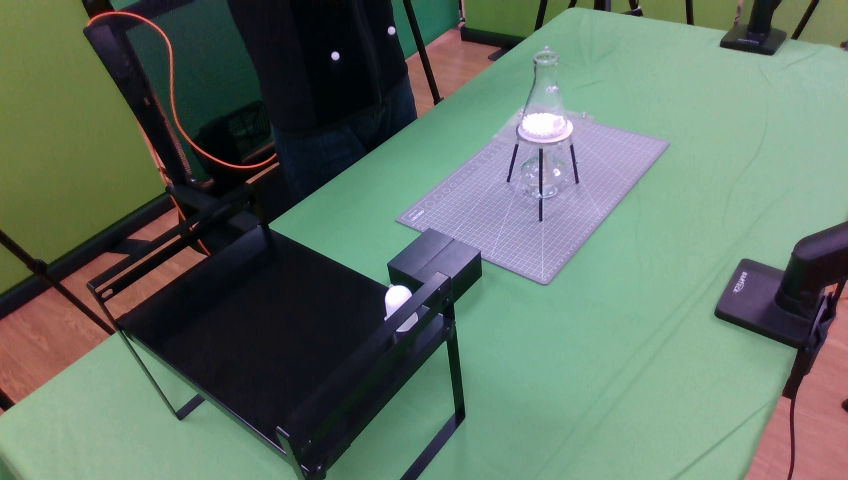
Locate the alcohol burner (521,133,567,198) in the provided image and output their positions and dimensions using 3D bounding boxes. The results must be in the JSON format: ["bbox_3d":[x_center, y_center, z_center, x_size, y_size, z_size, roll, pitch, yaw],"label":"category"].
[{"bbox_3d":[0.204,-0.131,1.023,0.078,0.119,0.077,-5,42,5],"label":"alcohol burner"}]

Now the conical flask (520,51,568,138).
[{"bbox_3d":[0.185,-0.223,0.926,0.075,0.122,0.075,-4,41,4],"label":"conical flask"}]

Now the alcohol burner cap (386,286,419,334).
[{"bbox_3d":[-0.024,0.067,0.604,0.034,0.048,0.033,-4,40,4],"label":"alcohol burner cap"}]

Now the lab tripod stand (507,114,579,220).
[{"bbox_3d":[0.199,-0.128,1.005,0.148,0.132,0.147,-3,42,3],"label":"lab tripod stand"}]

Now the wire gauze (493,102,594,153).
[{"bbox_3d":[0.191,-0.179,0.965,0.120,0.011,0.125,18,49,29],"label":"wire gauze"}]
